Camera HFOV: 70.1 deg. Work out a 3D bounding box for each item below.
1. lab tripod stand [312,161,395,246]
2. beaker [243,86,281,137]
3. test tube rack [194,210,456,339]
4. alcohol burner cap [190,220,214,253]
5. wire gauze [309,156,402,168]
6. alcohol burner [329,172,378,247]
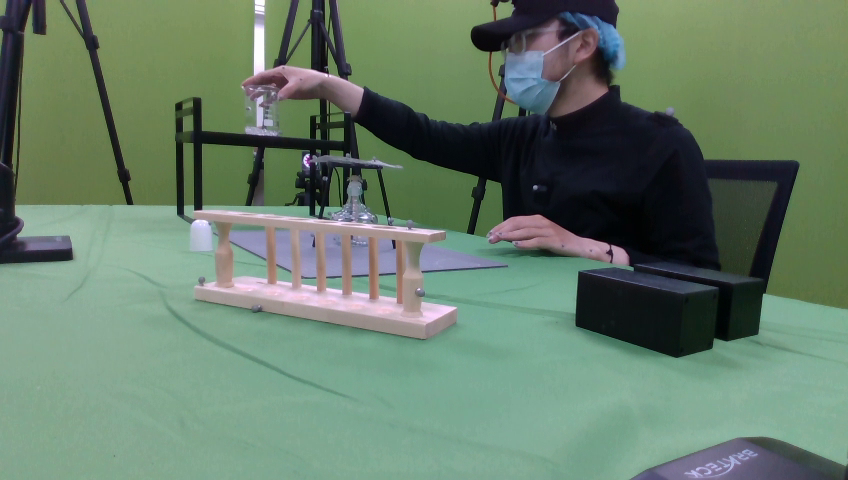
[{"bbox_3d":[-0.110,-0.058,0.970,0.148,0.131,0.148,4,6,0],"label":"lab tripod stand"},{"bbox_3d":[-0.338,-0.265,1.253,0.073,0.100,0.084,8,10,38],"label":"beaker"},{"bbox_3d":[-0.093,0.023,0.545,0.241,0.085,0.067,6,8,25],"label":"test tube rack"},{"bbox_3d":[-0.322,-0.006,0.875,0.034,0.048,0.034,3,8,0],"label":"alcohol burner cap"},{"bbox_3d":[-0.111,-0.124,0.956,0.125,0.011,0.121,2,7,-22],"label":"wire gauze"},{"bbox_3d":[-0.113,-0.049,0.972,0.078,0.119,0.078,1,9,0],"label":"alcohol burner"}]
